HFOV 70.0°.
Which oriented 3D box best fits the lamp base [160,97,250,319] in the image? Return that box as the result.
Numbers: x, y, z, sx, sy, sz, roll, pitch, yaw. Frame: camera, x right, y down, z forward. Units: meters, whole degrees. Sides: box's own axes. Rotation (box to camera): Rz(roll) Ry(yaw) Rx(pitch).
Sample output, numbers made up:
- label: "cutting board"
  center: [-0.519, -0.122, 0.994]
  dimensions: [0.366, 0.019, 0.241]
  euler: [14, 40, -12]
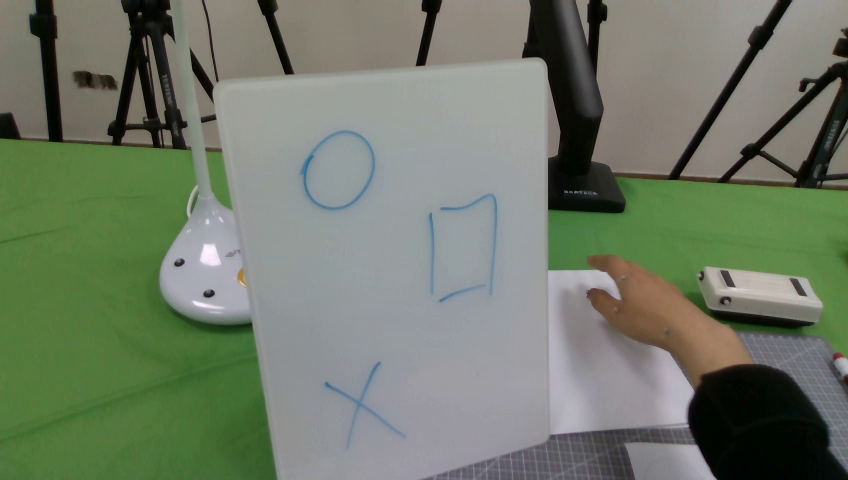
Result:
- label: "lamp base"
  center: [-0.199, -0.041, 0.604]
  dimensions: [0.177, 0.182, 0.161]
  euler: [29, 42, 34]

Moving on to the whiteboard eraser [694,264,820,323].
- label: "whiteboard eraser"
  center: [0.352, 0.058, 0.646]
  dimensions: [0.112, 0.042, 0.055]
  euler: [7, 37, 4]

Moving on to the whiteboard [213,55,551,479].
- label: "whiteboard"
  center: [-0.029, 0.020, 0.481]
  dimensions: [0.218, 0.307, 0.142]
  euler: [-9, 19, -17]

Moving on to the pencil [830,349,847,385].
- label: "pencil"
  center: [0.391, 0.167, 0.520]
  dimensions: [0.012, 0.012, 0.192]
  euler: [7, 38, 5]
